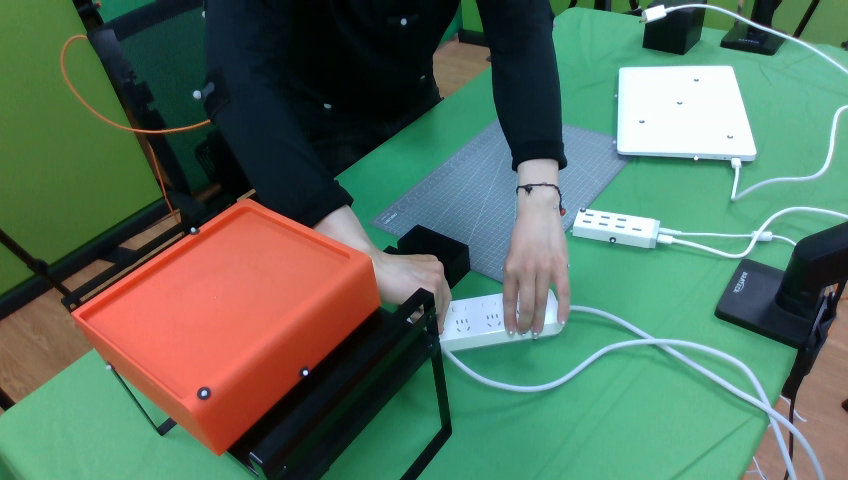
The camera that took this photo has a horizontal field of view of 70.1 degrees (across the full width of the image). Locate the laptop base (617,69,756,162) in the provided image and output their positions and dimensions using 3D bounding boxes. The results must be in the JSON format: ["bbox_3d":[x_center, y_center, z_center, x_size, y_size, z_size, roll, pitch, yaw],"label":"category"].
[{"bbox_3d":[0.507,-0.256,1.204,0.235,0.023,0.353,3,41,15],"label":"laptop base"}]

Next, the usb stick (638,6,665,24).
[{"bbox_3d":[0.503,-0.499,1.347,0.059,0.027,0.021,-21,5,-2],"label":"usb stick"}]

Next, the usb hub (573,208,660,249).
[{"bbox_3d":[0.302,-0.019,0.950,0.124,0.025,0.049,11,42,20],"label":"usb hub"}]

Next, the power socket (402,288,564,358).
[{"bbox_3d":[0.081,0.112,0.823,0.227,0.033,0.072,-8,41,-2],"label":"power socket"}]

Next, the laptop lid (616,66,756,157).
[{"bbox_3d":[0.503,-0.265,1.196,0.241,0.013,0.356,5,41,16],"label":"laptop lid"}]

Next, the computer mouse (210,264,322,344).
[{"bbox_3d":[-0.164,0.062,0.625,0.116,0.041,0.063,22,44,27],"label":"computer mouse"}]

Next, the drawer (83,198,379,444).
[{"bbox_3d":[-0.185,0.066,0.601,0.193,0.073,0.212,24,50,31],"label":"drawer"}]

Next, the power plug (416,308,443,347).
[{"bbox_3d":[0.005,0.120,0.778,0.035,0.053,0.072,-4,45,10],"label":"power plug"}]

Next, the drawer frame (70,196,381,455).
[{"bbox_3d":[-0.186,0.068,0.597,0.200,0.083,0.214,23,49,30],"label":"drawer frame"}]
